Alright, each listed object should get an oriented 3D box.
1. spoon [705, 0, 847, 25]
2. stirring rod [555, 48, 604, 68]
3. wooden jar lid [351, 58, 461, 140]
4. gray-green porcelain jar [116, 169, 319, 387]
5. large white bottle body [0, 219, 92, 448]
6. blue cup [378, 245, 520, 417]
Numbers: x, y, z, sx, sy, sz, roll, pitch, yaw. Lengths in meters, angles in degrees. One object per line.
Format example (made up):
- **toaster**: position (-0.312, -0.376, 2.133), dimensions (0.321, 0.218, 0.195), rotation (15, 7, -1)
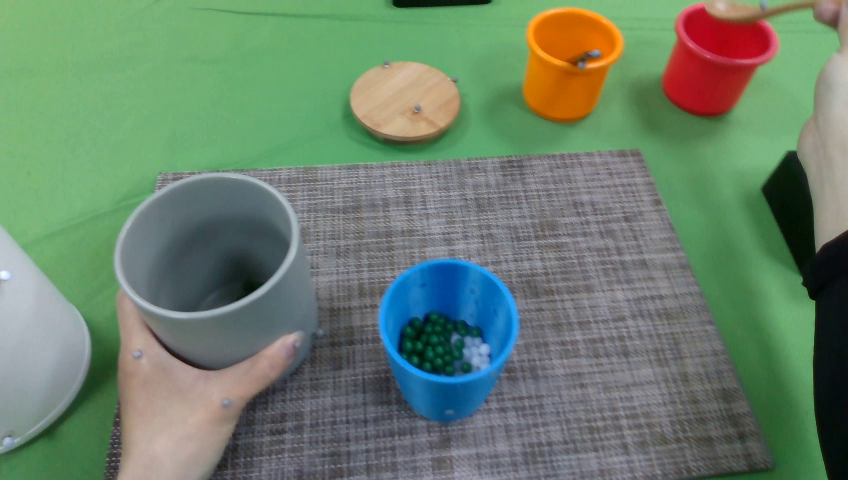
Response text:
- **spoon**: position (0.324, -0.191, 0.501), dimensions (0.042, 0.022, 0.192), rotation (-24, 27, -26)
- **stirring rod**: position (0.140, -0.166, 0.557), dimensions (0.014, 0.006, 0.175), rotation (0, 12, 4)
- **wooden jar lid**: position (-0.017, -0.139, 0.601), dimensions (0.108, 0.021, 0.107), rotation (2, 55, -2)
- **gray-green porcelain jar**: position (-0.128, 0.033, 0.407), dimensions (0.106, 0.127, 0.105), rotation (1, 55, -1)
- **large white bottle body**: position (-0.302, 0.040, 0.361), dimensions (0.131, 0.186, 0.129), rotation (1, 55, -2)
- **blue cup**: position (0.015, 0.072, 0.402), dimensions (0.092, 0.101, 0.092), rotation (1, 55, 0)
